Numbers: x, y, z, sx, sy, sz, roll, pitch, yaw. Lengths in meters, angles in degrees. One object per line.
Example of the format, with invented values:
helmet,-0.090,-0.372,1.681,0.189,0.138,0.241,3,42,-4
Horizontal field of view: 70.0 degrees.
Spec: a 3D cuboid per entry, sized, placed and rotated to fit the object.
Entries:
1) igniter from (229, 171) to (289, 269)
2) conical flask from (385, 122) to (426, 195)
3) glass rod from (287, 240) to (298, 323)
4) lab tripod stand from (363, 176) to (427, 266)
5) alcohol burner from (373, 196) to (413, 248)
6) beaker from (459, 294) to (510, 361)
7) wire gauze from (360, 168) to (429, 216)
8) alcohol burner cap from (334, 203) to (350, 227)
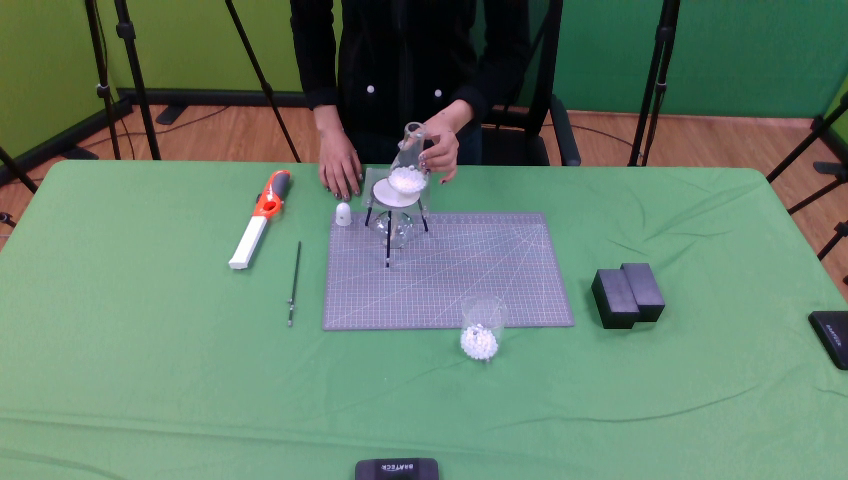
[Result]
igniter,-0.328,-0.049,1.218,0.057,0.025,0.275,0,45,11
conical flask,-0.025,-0.145,1.050,0.075,0.122,0.075,7,46,-7
glass rod,-0.242,0.072,1.119,0.008,0.008,0.198,-1,47,-5
lab tripod stand,-0.058,-0.047,1.159,0.148,0.132,0.147,3,44,-2
alcohol burner,-0.059,-0.041,1.167,0.078,0.119,0.077,4,46,-4
beaker,0.095,0.147,1.012,0.083,0.101,0.074,26,49,21
wire gauze,-0.052,-0.093,1.111,0.125,0.011,0.120,5,44,-1
alcohol burner cap,-0.166,-0.054,1.221,0.034,0.048,0.033,3,45,-2
